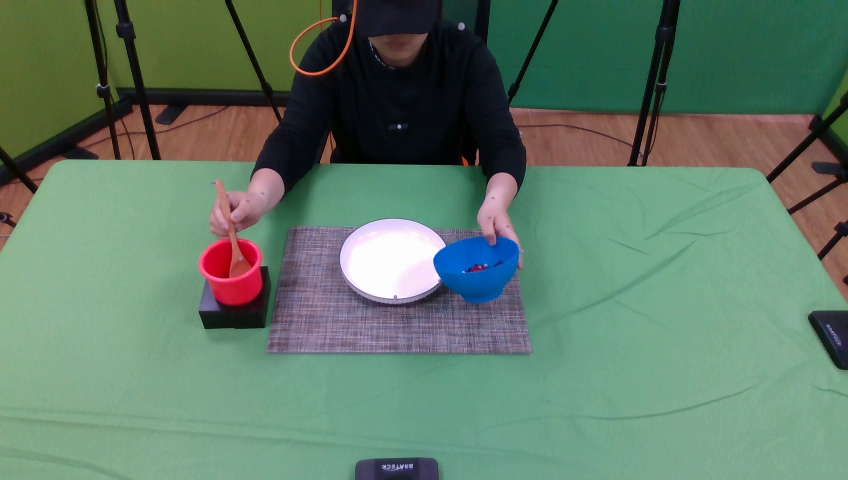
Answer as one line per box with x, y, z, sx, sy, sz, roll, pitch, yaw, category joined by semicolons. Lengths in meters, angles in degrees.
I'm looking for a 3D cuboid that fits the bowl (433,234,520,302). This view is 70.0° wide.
0.095;0.056;1.043;0.151;0.077;0.150;-10;22;4;bowl

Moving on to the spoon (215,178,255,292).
-0.320;-0.008;1.012;0.042;0.194;0.021;-13;8;-17;spoon

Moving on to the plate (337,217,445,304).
-0.058;0.042;1.137;0.208;0.039;0.206;2;46;-2;plate
